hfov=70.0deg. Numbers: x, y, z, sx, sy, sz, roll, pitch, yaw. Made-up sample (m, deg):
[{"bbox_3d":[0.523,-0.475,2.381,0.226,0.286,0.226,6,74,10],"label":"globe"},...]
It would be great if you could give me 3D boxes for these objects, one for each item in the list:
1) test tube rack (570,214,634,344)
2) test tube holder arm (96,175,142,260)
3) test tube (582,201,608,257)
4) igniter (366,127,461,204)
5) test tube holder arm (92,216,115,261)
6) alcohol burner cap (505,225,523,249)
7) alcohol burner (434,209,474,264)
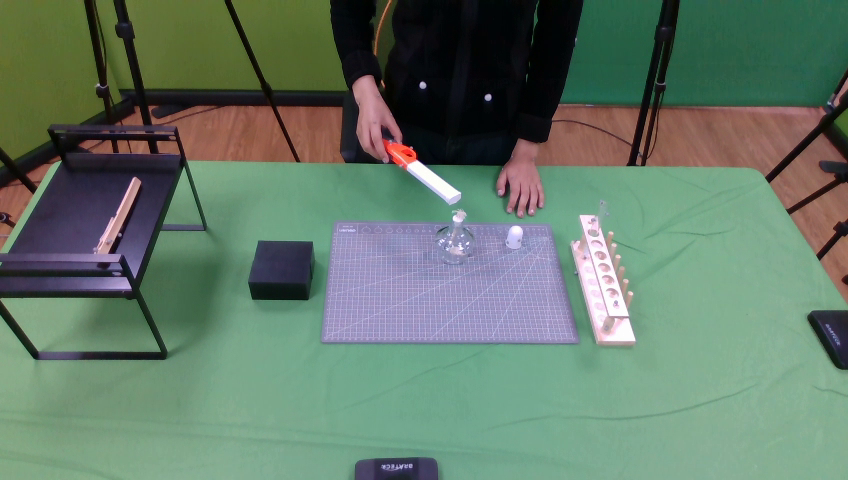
[{"bbox_3d":[0.333,0.067,1.116,0.067,0.085,0.241,1,46,-4],"label":"test tube rack"},{"bbox_3d":[-0.473,-0.039,0.946,0.013,0.015,0.177,-18,43,19],"label":"test tube holder arm"},{"bbox_3d":[0.316,-0.017,1.127,0.017,0.151,0.017,1,51,-1],"label":"test tube"},{"bbox_3d":[-0.029,-0.152,1.184,0.057,0.025,0.275,-28,52,-29],"label":"igniter"},{"bbox_3d":[-0.479,-0.004,0.917,0.010,0.015,0.087,-18,44,19],"label":"test tube holder arm"},{"bbox_3d":[0.180,-0.009,1.203,0.034,0.048,0.033,2,47,-2],"label":"alcohol burner cap"},{"bbox_3d":[0.058,-0.011,1.147,0.078,0.119,0.077,3,44,-3],"label":"alcohol burner"}]
